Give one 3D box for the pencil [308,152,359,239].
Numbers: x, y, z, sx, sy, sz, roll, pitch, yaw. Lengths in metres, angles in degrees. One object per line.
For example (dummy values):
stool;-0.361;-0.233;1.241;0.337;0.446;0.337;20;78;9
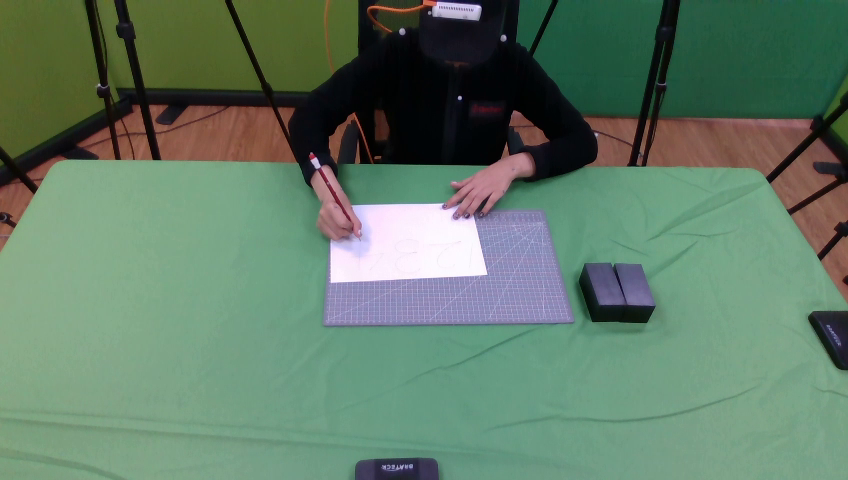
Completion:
pencil;-0.171;-0.081;1.165;0.012;0.195;0.012;-24;20;10
